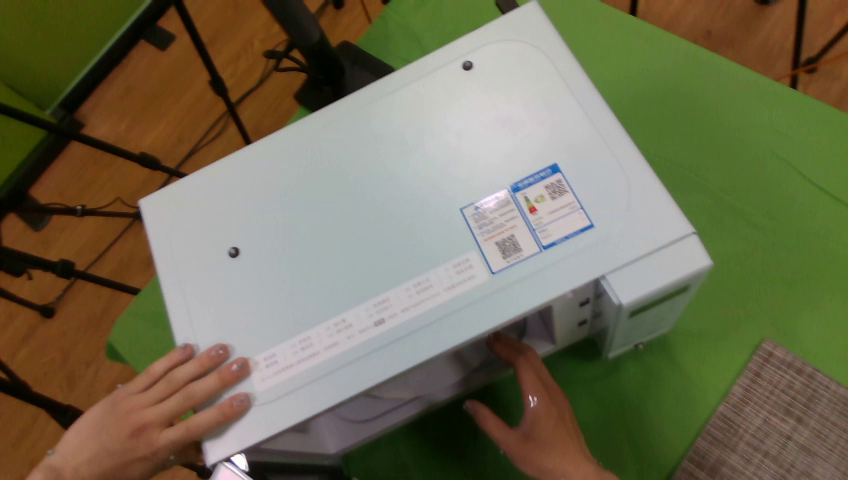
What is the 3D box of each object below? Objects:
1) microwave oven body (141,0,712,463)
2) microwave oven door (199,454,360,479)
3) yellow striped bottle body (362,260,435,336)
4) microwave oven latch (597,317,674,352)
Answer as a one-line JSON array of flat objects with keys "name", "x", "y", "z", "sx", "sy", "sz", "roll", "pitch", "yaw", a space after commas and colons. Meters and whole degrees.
[{"name": "microwave oven body", "x": -0.005, "y": 0.017, "z": 0.645, "sx": 0.442, "sy": 0.262, "sz": 0.323, "roll": -26, "pitch": 67, "yaw": 3}, {"name": "microwave oven door", "x": -0.003, "y": 0.296, "z": 0.531, "sx": 0.353, "sy": 0.246, "sz": 0.039, "roll": 26, "pitch": 77, "yaw": 21}, {"name": "yellow striped bottle body", "x": -0.027, "y": 0.061, "z": 0.643, "sx": 0.063, "sy": 0.121, "sz": 0.062, "roll": -3, "pitch": 71, "yaw": 9}, {"name": "microwave oven latch", "x": 0.232, "y": 0.095, "z": 0.668, "sx": 0.079, "sy": 0.030, "sz": 0.030, "roll": -25, "pitch": 67, "yaw": 4}]
